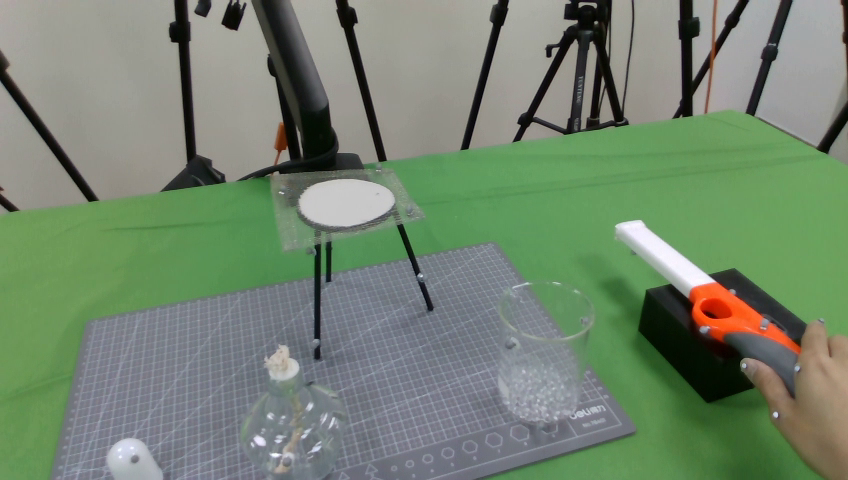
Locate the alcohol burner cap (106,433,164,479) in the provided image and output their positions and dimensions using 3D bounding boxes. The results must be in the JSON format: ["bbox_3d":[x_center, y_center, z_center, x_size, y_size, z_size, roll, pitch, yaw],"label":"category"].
[{"bbox_3d":[-0.215,0.163,0.448,0.034,0.048,0.033,-1,34,1],"label":"alcohol burner cap"}]

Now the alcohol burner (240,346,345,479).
[{"bbox_3d":[-0.098,0.121,0.443,0.078,0.120,0.077,0,36,1],"label":"alcohol burner"}]

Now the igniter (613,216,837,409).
[{"bbox_3d":[0.251,0.048,0.539,0.057,0.025,0.273,-10,31,-11],"label":"igniter"}]

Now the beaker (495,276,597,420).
[{"bbox_3d":[0.093,0.089,0.497,0.074,0.101,0.083,-21,38,-27],"label":"beaker"}]

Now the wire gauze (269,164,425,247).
[{"bbox_3d":[-0.073,-0.039,0.542,0.122,0.011,0.123,-9,35,-14],"label":"wire gauze"}]

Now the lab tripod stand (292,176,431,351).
[{"bbox_3d":[-0.067,0.015,0.583,0.148,0.132,0.147,0,32,0],"label":"lab tripod stand"}]
